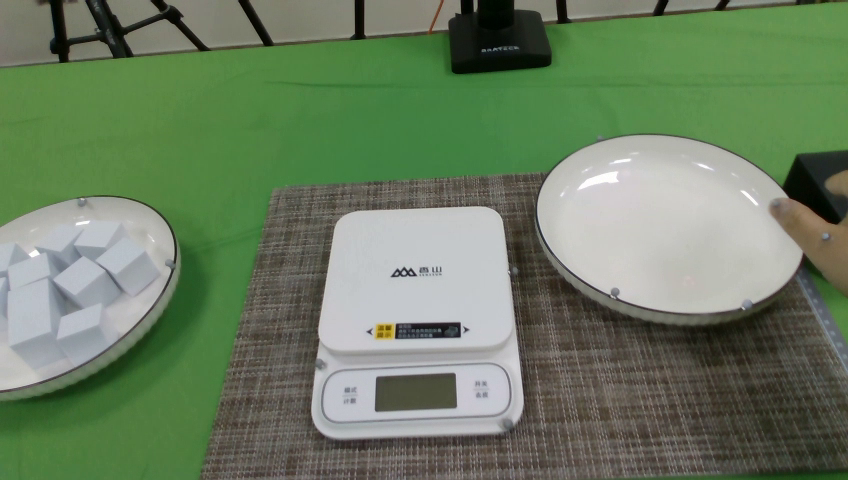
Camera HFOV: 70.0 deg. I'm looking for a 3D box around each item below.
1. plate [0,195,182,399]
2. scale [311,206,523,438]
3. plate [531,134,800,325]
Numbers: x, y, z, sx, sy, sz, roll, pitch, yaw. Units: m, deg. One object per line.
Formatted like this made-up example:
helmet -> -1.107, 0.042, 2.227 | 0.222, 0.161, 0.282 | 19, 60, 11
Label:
plate -> -0.306, 0.045, 0.510 | 0.209, 0.038, 0.207 | -2, 47, 3
scale -> -0.005, 0.053, 0.471 | 0.148, 0.032, 0.199 | -3, 48, 4
plate -> 0.194, -0.010, 0.506 | 0.207, 0.039, 0.205 | -3, 47, 3
